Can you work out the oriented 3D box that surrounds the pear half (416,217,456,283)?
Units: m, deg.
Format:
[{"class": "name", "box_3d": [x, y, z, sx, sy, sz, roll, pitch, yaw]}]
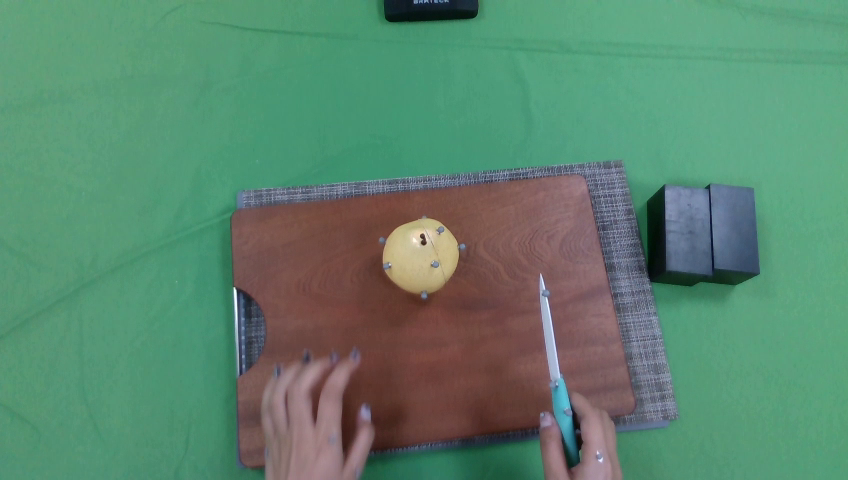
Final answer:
[{"class": "pear half", "box_3d": [0.015, 0.004, 0.616, 0.031, 0.088, 0.070, -27, 71, -10]}]

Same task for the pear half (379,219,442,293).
[{"class": "pear half", "box_3d": [-0.016, 0.016, 0.600, 0.056, 0.110, 0.076, -27, 72, -10]}]

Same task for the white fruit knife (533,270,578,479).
[{"class": "white fruit knife", "box_3d": [0.114, 0.125, 0.535, 0.016, 0.027, 0.208, -14, 102, -12]}]
